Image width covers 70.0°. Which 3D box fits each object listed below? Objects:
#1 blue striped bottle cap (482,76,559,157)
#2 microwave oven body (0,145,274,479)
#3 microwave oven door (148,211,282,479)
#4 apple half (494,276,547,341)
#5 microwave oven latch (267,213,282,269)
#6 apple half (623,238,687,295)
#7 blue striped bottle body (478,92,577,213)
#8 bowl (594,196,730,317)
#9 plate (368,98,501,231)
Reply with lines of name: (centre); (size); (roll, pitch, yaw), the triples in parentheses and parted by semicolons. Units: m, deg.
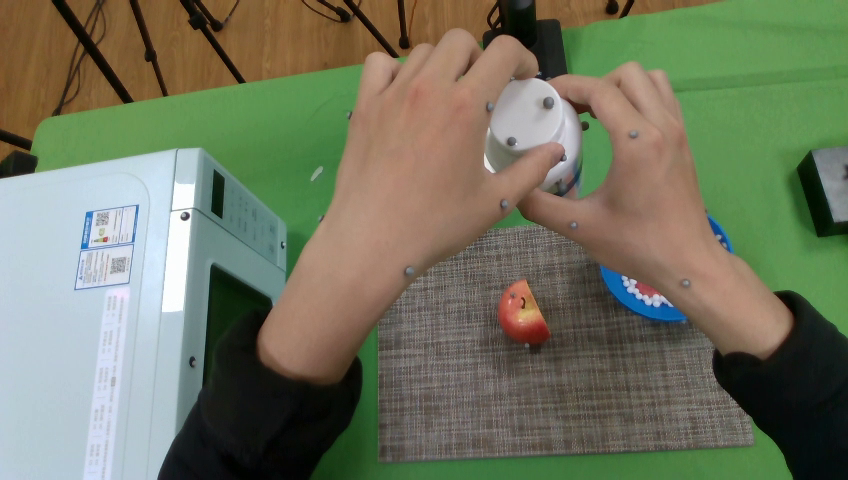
blue striped bottle cap: (0.056, -0.072, 0.354); (0.044, 0.021, 0.044); (-1, 86, 14)
microwave oven body: (-0.375, 0.154, 0.743); (0.325, 0.262, 0.438); (-8, 70, 8)
microwave oven door: (-0.230, 0.172, 0.701); (0.039, 0.246, 0.353); (-8, 69, 9)
apple half: (0.116, 0.093, 0.764); (0.053, 0.075, 0.080); (-26, 71, 6)
microwave oven latch: (-0.222, 0.003, 0.870); (0.030, 0.030, 0.078); (-9, 70, 8)
apple half: (0.286, 0.029, 0.743); (0.081, 0.033, 0.080); (-4, 68, 10)
blue striped bottle body: (0.073, -0.061, 0.413); (0.063, 0.121, 0.063); (-3, 79, 14)
bowl: (0.286, 0.029, 0.748); (0.151, 0.077, 0.150); (-4, 70, 11)
plate: (0.024, -0.106, 0.877); (0.207, 0.039, 0.206); (-4, 70, 10)
